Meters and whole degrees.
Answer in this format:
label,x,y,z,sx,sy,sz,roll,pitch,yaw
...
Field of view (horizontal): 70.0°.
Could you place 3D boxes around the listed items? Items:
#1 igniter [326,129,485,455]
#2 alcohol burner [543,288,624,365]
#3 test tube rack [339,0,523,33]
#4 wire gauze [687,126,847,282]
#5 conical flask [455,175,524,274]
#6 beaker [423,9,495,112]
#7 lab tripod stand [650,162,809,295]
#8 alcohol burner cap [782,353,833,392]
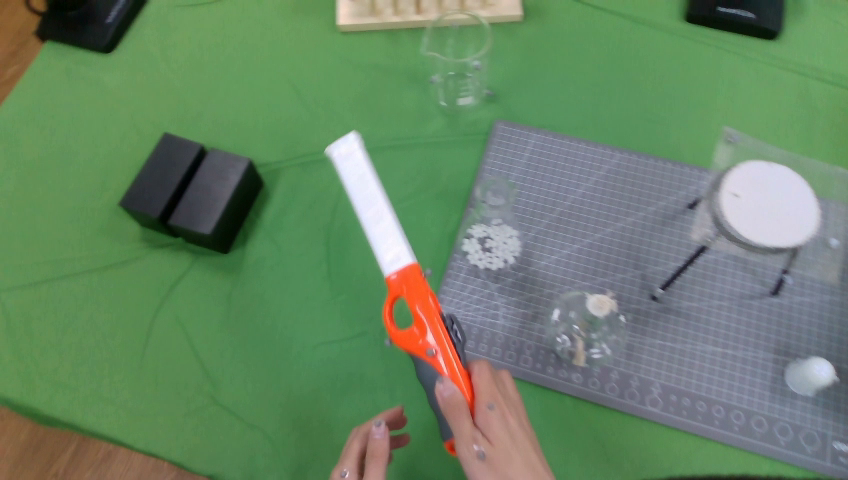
label,x,y,z,sx,sy,sz,roll,pitch,yaw
igniter,-0.017,0.035,0.488,0.057,0.025,0.275,-28,76,15
alcohol burner,0.155,0.076,0.574,0.078,0.120,0.077,0,64,0
test tube rack,0.007,-0.330,0.781,0.242,0.086,0.066,-3,66,1
wire gauze,0.307,-0.034,0.532,0.121,0.011,0.124,21,69,10
conical flask,0.069,-0.020,0.616,0.075,0.123,0.074,-1,65,2
beaker,0.040,-0.206,0.717,0.084,0.101,0.073,-23,66,-8
lab tripod stand,0.302,-0.004,0.593,0.148,0.132,0.147,0,65,0
alcohol burner cap,0.372,0.125,0.583,0.034,0.048,0.033,-1,66,3
